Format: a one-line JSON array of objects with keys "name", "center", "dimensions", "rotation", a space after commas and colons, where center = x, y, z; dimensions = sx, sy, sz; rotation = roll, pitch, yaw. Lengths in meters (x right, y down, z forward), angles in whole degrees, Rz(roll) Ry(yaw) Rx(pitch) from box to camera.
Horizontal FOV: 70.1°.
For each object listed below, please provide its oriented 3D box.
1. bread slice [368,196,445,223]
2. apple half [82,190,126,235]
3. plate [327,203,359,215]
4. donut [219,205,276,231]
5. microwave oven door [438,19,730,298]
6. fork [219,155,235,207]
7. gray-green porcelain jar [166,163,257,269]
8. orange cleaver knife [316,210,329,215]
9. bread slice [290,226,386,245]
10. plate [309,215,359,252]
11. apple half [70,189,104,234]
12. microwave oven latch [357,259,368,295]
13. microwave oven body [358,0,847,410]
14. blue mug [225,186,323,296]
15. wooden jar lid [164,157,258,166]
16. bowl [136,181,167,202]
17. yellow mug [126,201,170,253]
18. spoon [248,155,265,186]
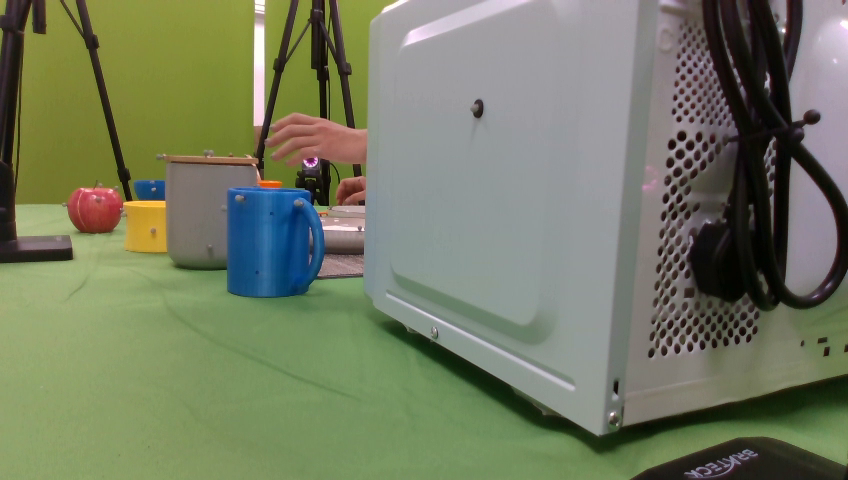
[{"name": "bread slice", "center": [-0.040, -0.057, 1.142], "dimensions": [0.107, 0.018, 0.133], "rotation": [-8, -8, -39]}, {"name": "apple half", "center": [-0.516, -0.046, 0.994], "dimensions": [0.032, 0.081, 0.081], "rotation": [0, 6, 26]}, {"name": "plate", "center": [-0.102, -0.053, 1.299], "dimensions": [0.209, 0.038, 0.209], "rotation": [2, 8, 0]}, {"name": "donut", "center": [-0.316, -0.039, 1.083], "dimensions": [0.099, 0.048, 0.099], "rotation": [3, 6, 0]}, {"name": "microwave oven door", "center": [0.181, -0.076, 0.618], "dimensions": [0.358, 0.243, 0.039], "rotation": [-2, 8, -28]}, {"name": "fork", "center": [-0.459, -0.134, 1.415], "dimensions": [0.028, 0.018, 0.207], "rotation": [-1, -34, -25]}, {"name": "gray-green porcelain jar", "center": [-0.263, -0.031, 0.754], "dimensions": [0.106, 0.126, 0.106], "rotation": [2, 7, 0]}, {"name": "orange cleaver knife", "center": [-0.259, -0.064, 1.423], "dimensions": [0.212, 0.012, 0.077], "rotation": [-4, 3, -30]}, {"name": "bread slice", "center": [-0.124, -0.008, 0.938], "dimensions": [0.131, 0.019, 0.105], "rotation": [4, 8, 33]}, {"name": "plate", "center": [-0.130, -0.011, 0.945], "dimensions": [0.208, 0.039, 0.207], "rotation": [2, 8, 0]}, {"name": "apple half", "center": [-0.552, -0.048, 1.010], "dimensions": [0.053, 0.074, 0.081], "rotation": [-1, 9, 26]}, {"name": "microwave oven latch", "center": [-0.019, 0.031, 0.529], "dimensions": [0.079, 0.029, 0.030], "rotation": [-1, 7, -26]}, {"name": "microwave oven body", "center": [0.210, -0.051, 0.471], "dimensions": [0.444, 0.260, 0.324], "rotation": [-1, 7, -28]}, {"name": "blue mug", "center": [-0.148, 0.000, 0.618], "dimensions": [0.116, 0.106, 0.083], "rotation": [7, 9, 33]}, {"name": "wooden jar lid", "center": [-0.261, -0.093, 0.746], "dimensions": [0.108, 0.020, 0.108], "rotation": [0, 9, 0]}, {"name": "bowl", "center": [-0.497, -0.076, 1.221], "dimensions": [0.151, 0.077, 0.151], "rotation": [2, 8, 0]}, {"name": "yellow mug", "center": [-0.361, -0.019, 0.866], "dimensions": [0.130, 0.064, 0.100], "rotation": [6, 9, 27]}, {"name": "spoon", "center": [-0.417, -0.150, 1.543], "dimensions": [0.042, 0.193, 0.021], "rotation": [-6, -34, -32]}]
